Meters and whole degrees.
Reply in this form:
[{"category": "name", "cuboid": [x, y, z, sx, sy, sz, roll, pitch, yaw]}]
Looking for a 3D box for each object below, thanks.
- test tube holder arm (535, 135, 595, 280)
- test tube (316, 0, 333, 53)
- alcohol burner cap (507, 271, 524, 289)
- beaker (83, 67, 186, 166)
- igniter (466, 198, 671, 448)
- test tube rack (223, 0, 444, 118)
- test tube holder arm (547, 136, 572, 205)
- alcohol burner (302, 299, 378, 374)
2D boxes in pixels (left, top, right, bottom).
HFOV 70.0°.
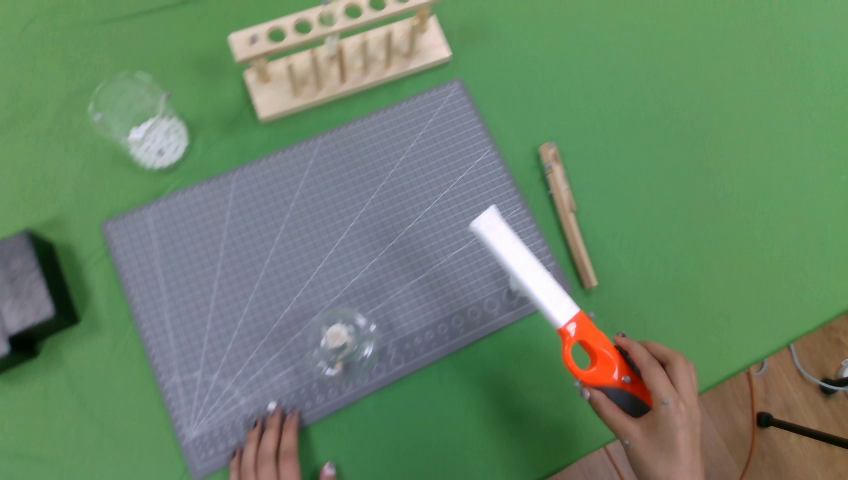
[{"category": "test tube holder arm", "cuboid": [0.164, -0.039, 0.708, 0.013, 0.015, 0.177, -6, 75, -40]}, {"category": "test tube", "cuboid": [-0.109, -0.248, 0.659, 0.017, 0.150, 0.017, 2, 75, -6]}, {"category": "alcohol burner cap", "cuboid": [0.113, 0.035, 0.672, 0.034, 0.048, 0.033, 1, 74, -3]}, {"category": "beaker", "cuboid": [-0.308, -0.127, 0.661, 0.074, 0.100, 0.083, -22, 78, -8]}, {"category": "igniter", "cuboid": [0.137, 0.077, 0.565, 0.057, 0.025, 0.276, -39, 89, -16]}, {"category": "test tube rack", "cuboid": [-0.097, -0.228, 0.706, 0.242, 0.085, 0.066, -21, 78, -8]}, {"category": "test tube holder arm", "cuboid": [0.157, -0.082, 0.721, 0.010, 0.015, 0.087, -4, 74, -40]}, {"category": "alcohol burner", "cuboid": [-0.086, 0.095, 0.609, 0.078, 0.119, 0.077, 1, 74, -4]}]
